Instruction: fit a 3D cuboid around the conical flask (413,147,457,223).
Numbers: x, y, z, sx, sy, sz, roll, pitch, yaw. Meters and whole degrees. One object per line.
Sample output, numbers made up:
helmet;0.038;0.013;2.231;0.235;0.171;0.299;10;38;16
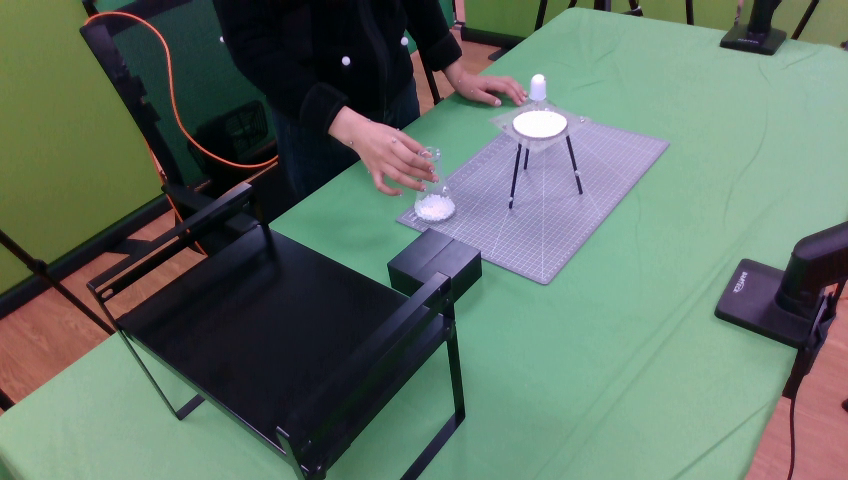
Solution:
conical flask;0.013;-0.094;1.003;0.075;0.122;0.075;-4;41;4

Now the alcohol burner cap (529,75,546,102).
alcohol burner cap;0.218;-0.292;1.156;0.034;0.048;0.033;-3;46;4

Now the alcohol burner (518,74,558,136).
alcohol burner;0.222;-0.265;1.179;0.078;0.119;0.077;-5;39;5

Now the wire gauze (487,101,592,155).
wire gauze;0.185;-0.187;0.974;0.122;0.011;0.124;-27;44;-23

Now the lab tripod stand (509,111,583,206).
lab tripod stand;0.197;-0.139;1.019;0.148;0.132;0.147;-3;39;3
